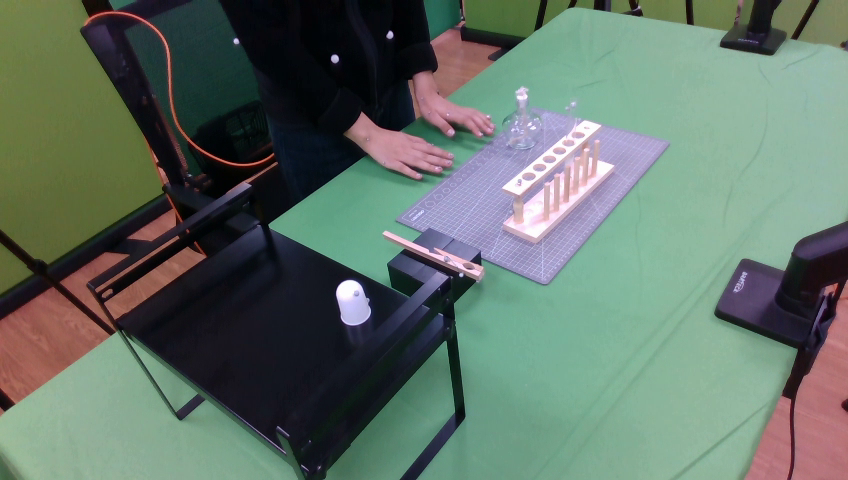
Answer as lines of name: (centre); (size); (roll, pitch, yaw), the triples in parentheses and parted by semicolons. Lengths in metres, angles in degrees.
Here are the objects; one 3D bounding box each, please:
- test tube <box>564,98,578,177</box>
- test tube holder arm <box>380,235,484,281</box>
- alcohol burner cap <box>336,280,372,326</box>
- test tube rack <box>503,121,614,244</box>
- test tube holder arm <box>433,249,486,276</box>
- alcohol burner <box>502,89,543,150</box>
test tube: (0.244, -0.166, 1.004); (0.017, 0.151, 0.017); (-5, 42, 4)
test tube holder arm: (0.008, 0.024, 0.877); (0.177, 0.015, 0.013); (18, 51, 29)
alcohol burner cap: (-0.073, 0.061, 0.619); (0.034, 0.048, 0.033); (-4, 42, 4)
test tube rack: (0.230, -0.101, 1.006); (0.066, 0.085, 0.243); (26, 50, 35)
test tube holder arm: (0.048, 0.033, 0.858); (0.087, 0.015, 0.010); (19, 51, 30)
alcohol burner: (0.186, -0.233, 1.147); (0.078, 0.119, 0.077); (-5, 42, 5)
